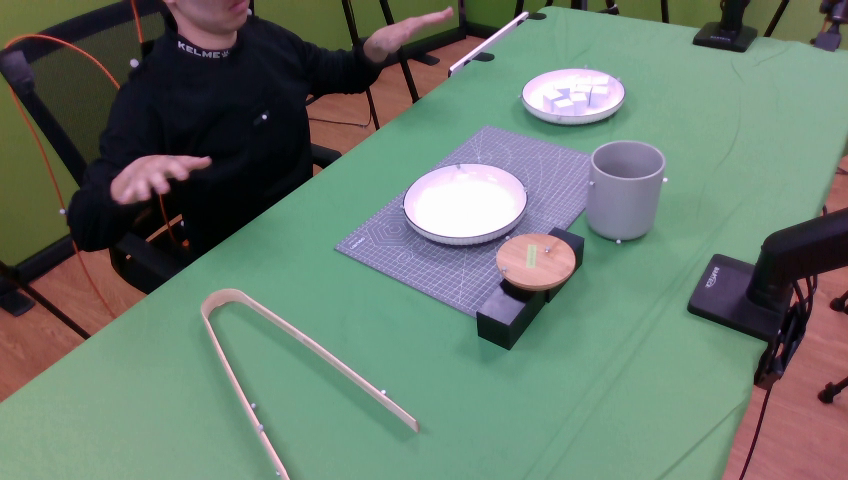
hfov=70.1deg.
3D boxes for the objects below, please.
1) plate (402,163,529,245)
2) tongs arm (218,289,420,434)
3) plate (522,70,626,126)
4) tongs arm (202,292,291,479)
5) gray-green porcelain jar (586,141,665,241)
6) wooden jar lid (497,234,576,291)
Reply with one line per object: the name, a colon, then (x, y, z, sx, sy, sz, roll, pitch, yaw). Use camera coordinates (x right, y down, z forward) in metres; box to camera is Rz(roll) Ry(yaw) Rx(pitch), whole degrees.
plate: (0.069, -0.056, 1.008, 0.209, 0.038, 0.208, -4, 40, 4)
tongs arm: (-0.153, 0.151, 0.812, 0.384, 0.028, 0.028, 26, 53, 33)
plate: (0.308, -0.290, 1.251, 0.207, 0.039, 0.206, -4, 40, 4)
tongs arm: (-0.216, 0.187, 0.772, 0.051, 0.026, 0.381, -28, 44, -24)
gray-green porcelain jar: (0.305, -0.070, 0.927, 0.106, 0.127, 0.105, -4, 41, 4)
wooden jar lid: (0.155, 0.032, 0.834, 0.108, 0.021, 0.108, -5, 40, 5)
